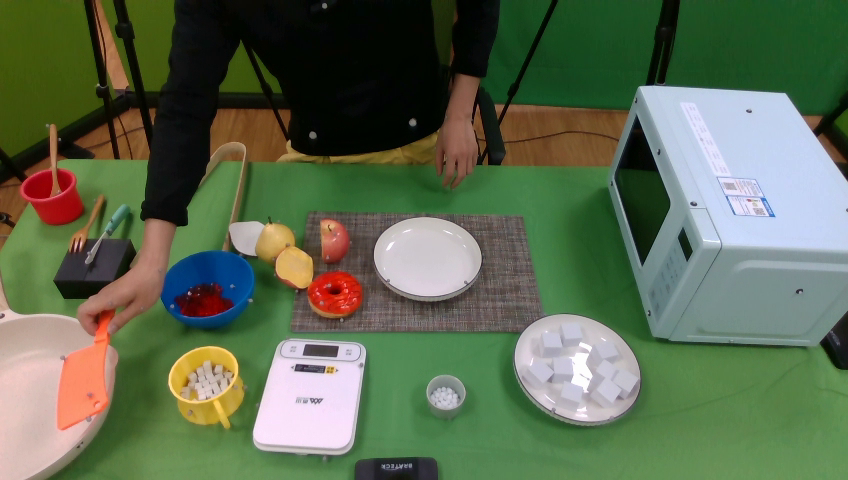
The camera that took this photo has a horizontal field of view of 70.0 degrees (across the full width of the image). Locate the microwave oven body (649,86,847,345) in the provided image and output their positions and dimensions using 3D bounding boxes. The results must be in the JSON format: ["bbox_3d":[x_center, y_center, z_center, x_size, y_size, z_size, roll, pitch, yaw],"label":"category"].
[{"bbox_3d":[0.567,-0.053,1.118,0.326,0.261,0.439,2,45,-1],"label":"microwave oven body"}]

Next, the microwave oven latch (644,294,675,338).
[{"bbox_3d":[0.410,0.133,1.061,0.030,0.029,0.078,2,45,-1],"label":"microwave oven latch"}]

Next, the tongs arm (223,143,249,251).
[{"bbox_3d":[-0.397,-0.074,1.232,0.051,0.026,0.382,-1,45,-1],"label":"tongs arm"}]

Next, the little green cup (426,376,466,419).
[{"bbox_3d":[0.033,0.248,0.950,0.061,0.039,0.061,2,46,-2],"label":"little green cup"}]

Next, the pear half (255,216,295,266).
[{"bbox_3d":[-0.269,0.001,1.117,0.056,0.110,0.076,26,54,19],"label":"pear half"}]

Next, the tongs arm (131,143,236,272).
[{"bbox_3d":[-0.483,-0.079,1.234,0.028,0.028,0.385,7,45,12],"label":"tongs arm"}]

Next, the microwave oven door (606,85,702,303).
[{"bbox_3d":[0.422,-0.094,1.140,0.039,0.245,0.353,2,46,-1],"label":"microwave oven door"}]

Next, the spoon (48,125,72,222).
[{"bbox_3d":[-0.718,-0.131,1.189,0.042,0.021,0.193,-3,90,-7],"label":"spoon"}]

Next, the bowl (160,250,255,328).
[{"bbox_3d":[-0.362,0.098,1.039,0.151,0.077,0.150,2,45,-2],"label":"bowl"}]

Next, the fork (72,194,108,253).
[{"bbox_3d":[-0.634,-0.035,1.158,0.028,0.019,0.206,-11,32,-5],"label":"fork"}]

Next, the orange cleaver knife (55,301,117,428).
[{"bbox_3d":[-0.485,0.173,0.874,0.077,0.012,0.210,-15,45,-6],"label":"orange cleaver knife"}]

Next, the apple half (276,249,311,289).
[{"bbox_3d":[-0.244,0.057,1.113,0.033,0.082,0.081,-34,34,27],"label":"apple half"}]

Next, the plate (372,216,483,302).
[{"bbox_3d":[0.006,0.038,1.145,0.209,0.038,0.208,2,46,-2],"label":"plate"}]

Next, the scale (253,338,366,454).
[{"bbox_3d":[-0.175,0.236,0.951,0.149,0.032,0.199,5,45,-1],"label":"scale"}]

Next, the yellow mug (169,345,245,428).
[{"bbox_3d":[-0.322,0.230,0.922,0.100,0.064,0.130,-24,53,-25],"label":"yellow mug"}]

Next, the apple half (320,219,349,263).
[{"bbox_3d":[-0.169,0.002,1.144,0.053,0.075,0.080,-3,42,-13],"label":"apple half"}]

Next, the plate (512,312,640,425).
[{"bbox_3d":[0.246,0.213,0.999,0.208,0.039,0.206,2,46,-2],"label":"plate"}]

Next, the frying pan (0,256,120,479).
[{"bbox_3d":[-0.647,0.164,0.936,0.307,0.103,0.485,-19,58,-22],"label":"frying pan"}]

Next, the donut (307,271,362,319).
[{"bbox_3d":[-0.158,0.097,1.073,0.099,0.048,0.098,4,45,-4],"label":"donut"}]

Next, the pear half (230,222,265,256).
[{"bbox_3d":[-0.333,0.000,1.167,0.088,0.031,0.070,30,51,5],"label":"pear half"}]

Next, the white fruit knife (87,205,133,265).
[{"bbox_3d":[-0.584,-0.012,1.129,0.016,0.027,0.206,0,31,-5],"label":"white fruit knife"}]
